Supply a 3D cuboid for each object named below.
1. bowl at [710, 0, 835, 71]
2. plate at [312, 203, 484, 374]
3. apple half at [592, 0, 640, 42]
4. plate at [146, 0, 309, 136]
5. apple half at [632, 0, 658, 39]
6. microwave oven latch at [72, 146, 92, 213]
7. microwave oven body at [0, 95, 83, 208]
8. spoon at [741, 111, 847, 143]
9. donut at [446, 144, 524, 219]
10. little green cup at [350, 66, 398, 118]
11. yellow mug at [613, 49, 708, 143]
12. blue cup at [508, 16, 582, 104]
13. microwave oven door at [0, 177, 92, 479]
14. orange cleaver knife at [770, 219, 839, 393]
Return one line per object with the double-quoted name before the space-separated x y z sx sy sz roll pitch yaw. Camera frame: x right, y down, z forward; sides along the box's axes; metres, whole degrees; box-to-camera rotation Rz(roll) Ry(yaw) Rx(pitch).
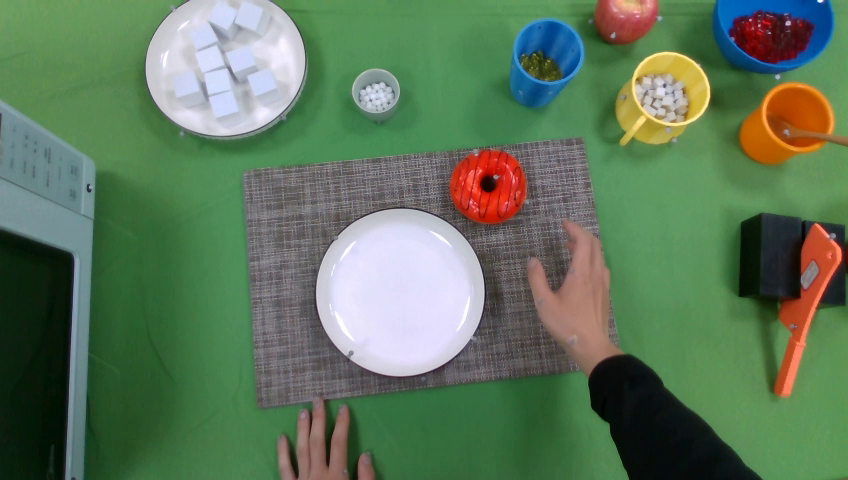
"bowl" 0.443 -0.284 0.802 0.151 0.077 0.151 0 80 -1
"plate" -0.031 0.059 0.744 0.209 0.038 0.208 0 80 -1
"apple half" 0.251 -0.305 0.804 0.053 0.075 0.080 -1 83 2
"plate" -0.254 -0.231 0.797 0.208 0.039 0.206 0 79 -1
"apple half" 0.290 -0.306 0.804 0.033 0.081 0.081 -1 79 2
"microwave oven latch" -0.427 -0.074 0.745 0.030 0.029 0.079 -2 80 -2
"microwave oven body" -0.564 0.089 0.614 0.326 0.261 0.440 -3 80 -2
"spoon" 0.482 -0.128 0.738 0.041 0.192 0.022 -48 128 -8
"donut" 0.078 -0.073 0.768 0.099 0.048 0.098 0 82 -1
"little green cup" -0.064 -0.192 0.794 0.061 0.039 0.061 0 79 -1
"yellow mug" 0.295 -0.176 0.785 0.099 0.064 0.131 41 83 7
"blue cup" 0.146 -0.220 0.772 0.093 0.100 0.092 0 80 -2
"microwave oven door" -0.415 0.121 0.606 0.039 0.244 0.354 -4 79 -2
"orange cleaver knife" 0.449 0.081 0.732 0.012 0.077 0.212 9 109 3
